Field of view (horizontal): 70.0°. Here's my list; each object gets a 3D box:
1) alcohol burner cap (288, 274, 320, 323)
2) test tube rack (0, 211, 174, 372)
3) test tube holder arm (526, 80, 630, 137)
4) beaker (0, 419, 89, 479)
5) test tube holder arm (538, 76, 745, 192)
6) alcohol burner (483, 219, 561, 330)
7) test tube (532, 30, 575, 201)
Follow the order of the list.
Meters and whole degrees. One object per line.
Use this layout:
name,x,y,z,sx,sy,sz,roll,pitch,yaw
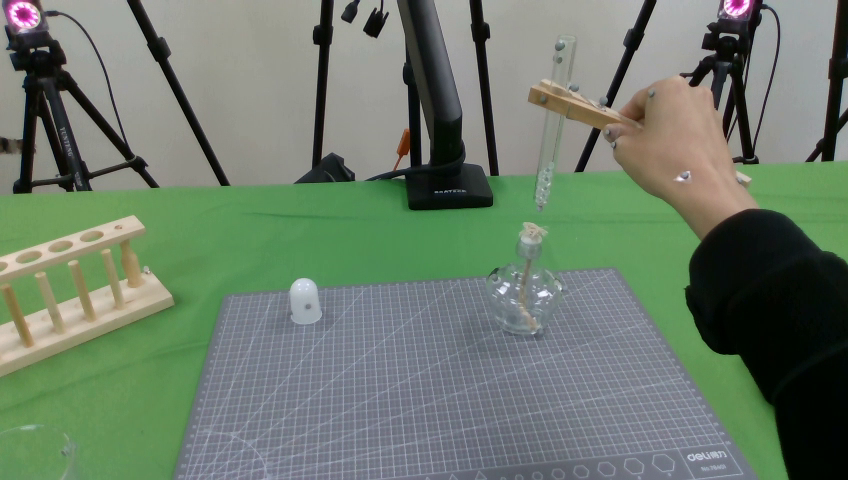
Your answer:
alcohol burner cap,-0.126,0.058,0.625,0.034,0.048,0.033,0,32,1
test tube rack,-0.383,0.059,0.586,0.243,0.086,0.066,-25,40,-34
test tube holder arm,0.121,-0.104,0.478,0.087,0.015,0.010,29,44,21
beaker,-0.252,0.177,0.388,0.084,0.101,0.073,0,32,2
test tube holder arm,0.158,-0.085,0.463,0.177,0.015,0.013,35,48,27
alcohol burner,0.099,0.031,0.602,0.078,0.120,0.077,2,33,-1
test tube,0.106,-0.098,0.505,0.017,0.151,0.017,1,36,0
